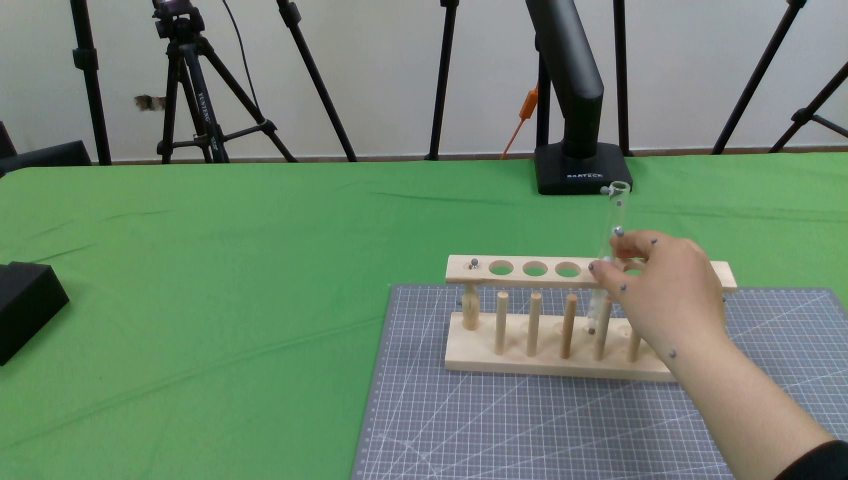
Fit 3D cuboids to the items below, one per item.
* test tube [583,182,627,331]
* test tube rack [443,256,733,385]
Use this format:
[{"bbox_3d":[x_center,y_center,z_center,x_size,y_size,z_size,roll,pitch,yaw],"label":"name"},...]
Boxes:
[{"bbox_3d":[0.155,0.019,0.524,0.017,0.151,0.017,0,33,0],"label":"test tube"},{"bbox_3d":[0.139,0.070,0.541,0.242,0.086,0.066,1,36,8],"label":"test tube rack"}]
